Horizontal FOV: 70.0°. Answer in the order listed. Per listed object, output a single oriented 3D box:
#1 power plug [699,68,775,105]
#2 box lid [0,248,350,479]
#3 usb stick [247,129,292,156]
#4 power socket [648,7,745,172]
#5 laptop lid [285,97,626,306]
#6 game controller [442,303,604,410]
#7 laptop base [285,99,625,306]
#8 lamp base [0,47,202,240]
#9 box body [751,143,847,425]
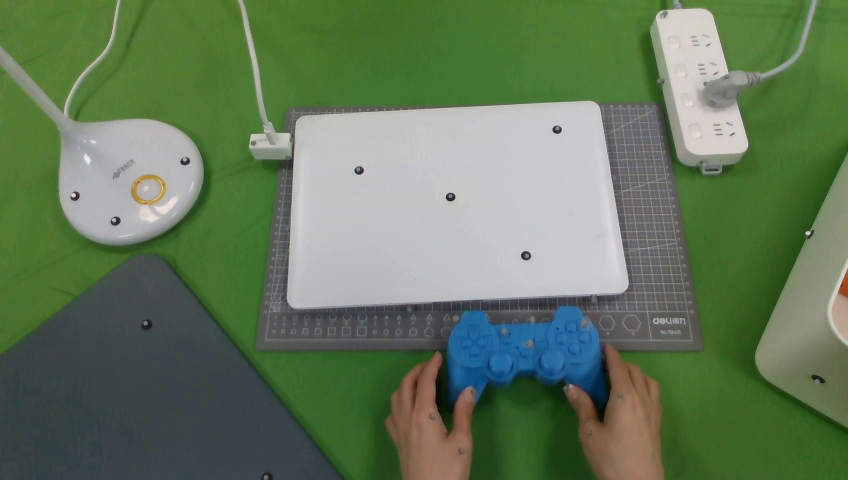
[{"bbox_3d":[0.346,-0.166,0.679,0.072,0.053,0.035,9,66,4],"label":"power plug"},{"bbox_3d":[-0.273,0.200,0.581,0.263,0.015,0.369,-41,72,-15],"label":"box lid"},{"bbox_3d":[-0.169,-0.111,0.690,0.059,0.027,0.021,1,61,-1],"label":"usb stick"},{"bbox_3d":[0.317,-0.185,0.712,0.072,0.033,0.225,-1,66,0],"label":"power socket"},{"bbox_3d":[0.028,-0.048,0.658,0.357,0.013,0.240,-1,69,2],"label":"laptop lid"},{"bbox_3d":[0.094,0.110,0.585,0.155,0.052,0.096,-2,64,1],"label":"game controller"},{"bbox_3d":[0.028,-0.046,0.670,0.354,0.023,0.234,-3,70,1],"label":"laptop base"},{"bbox_3d":[-0.348,-0.109,0.622,0.178,0.181,0.160,25,69,15],"label":"lamp base"},{"bbox_3d":[0.499,0.020,0.548,0.253,0.161,0.363,31,71,14],"label":"box body"}]
